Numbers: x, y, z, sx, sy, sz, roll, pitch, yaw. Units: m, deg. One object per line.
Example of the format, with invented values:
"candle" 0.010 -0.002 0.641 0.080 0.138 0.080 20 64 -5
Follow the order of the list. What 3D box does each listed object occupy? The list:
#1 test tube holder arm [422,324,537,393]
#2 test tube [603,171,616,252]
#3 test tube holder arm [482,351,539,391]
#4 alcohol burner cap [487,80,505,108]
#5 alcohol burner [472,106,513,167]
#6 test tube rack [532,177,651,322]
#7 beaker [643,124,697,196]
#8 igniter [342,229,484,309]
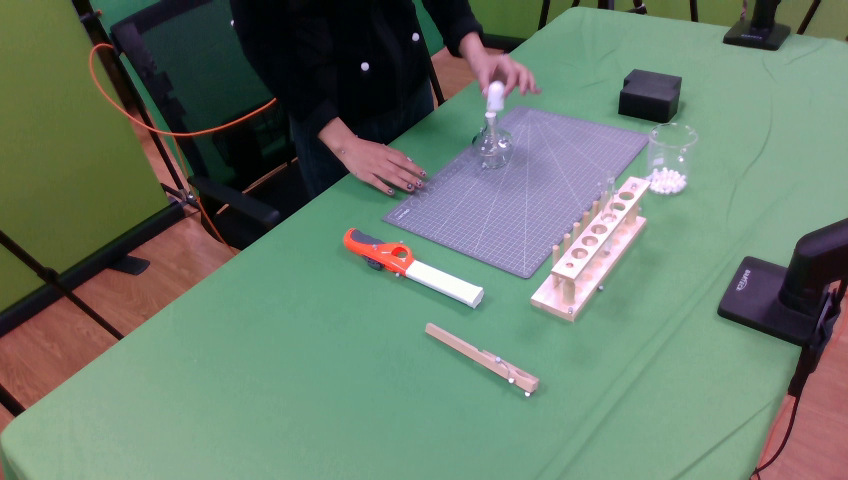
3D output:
"test tube holder arm" 0.068 0.152 0.789 0.177 0.015 0.013 23 15 32
"test tube" 0.259 -0.036 0.848 0.017 0.151 0.017 -8 46 9
"test tube holder arm" 0.106 0.166 0.769 0.087 0.015 0.010 24 15 34
"alcohol burner cap" 0.128 -0.260 1.074 0.034 0.048 0.033 0 29 1
"alcohol burner" 0.125 -0.195 1.111 0.078 0.119 0.077 -5 42 5
"test tube rack" 0.247 0.002 0.883 0.066 0.085 0.243 23 49 32
"beaker" 0.407 -0.132 1.001 0.084 0.101 0.073 -20 42 -13
"igniter" -0.028 0.039 0.936 0.274 0.025 0.057 23 60 33
